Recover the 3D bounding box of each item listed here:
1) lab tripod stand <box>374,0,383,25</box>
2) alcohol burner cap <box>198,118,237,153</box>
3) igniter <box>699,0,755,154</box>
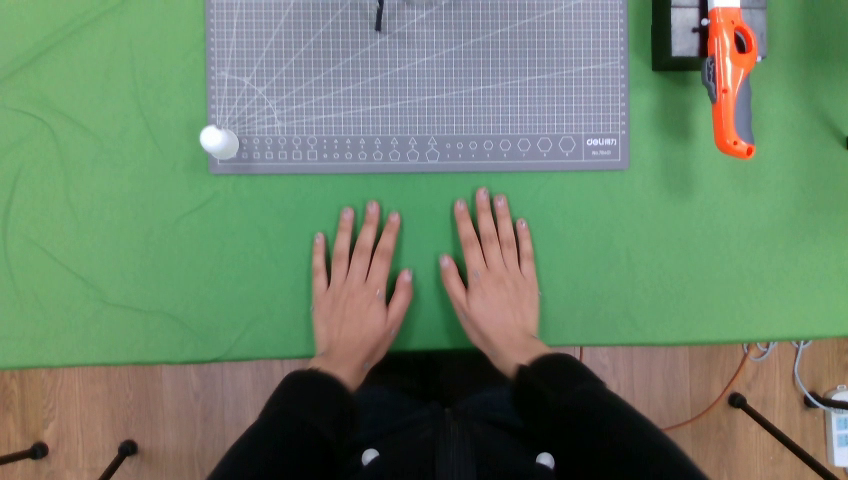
[{"bbox_3d":[-0.008,-0.289,0.581,0.148,0.131,0.148,0,90,0],"label":"lab tripod stand"},{"bbox_3d":[-0.214,-0.109,0.619,0.034,0.048,0.034,0,88,-3],"label":"alcohol burner cap"},{"bbox_3d":[0.301,-0.223,0.604,0.057,0.025,0.276,-3,88,-6],"label":"igniter"}]
